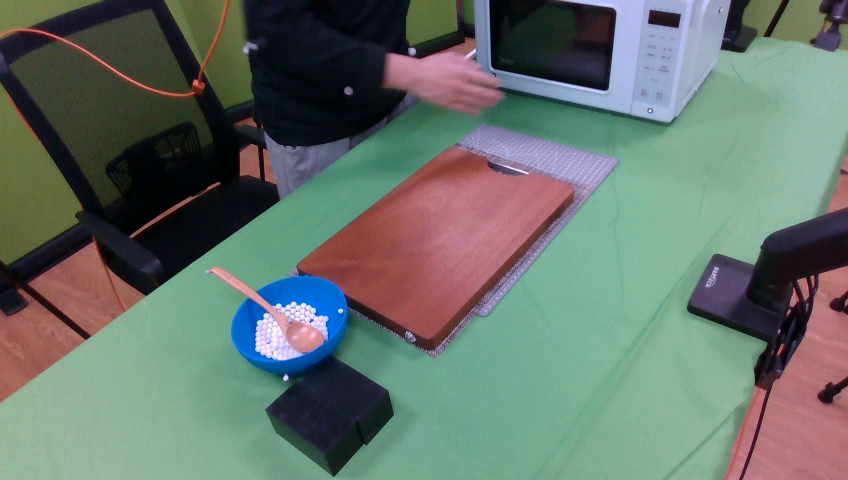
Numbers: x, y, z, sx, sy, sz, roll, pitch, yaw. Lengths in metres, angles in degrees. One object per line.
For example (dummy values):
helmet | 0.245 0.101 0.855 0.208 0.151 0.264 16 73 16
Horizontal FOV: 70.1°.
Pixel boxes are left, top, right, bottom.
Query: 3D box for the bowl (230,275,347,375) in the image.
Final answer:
bowl | -0.171 0.125 0.802 0.151 0.077 0.150 -4 40 4

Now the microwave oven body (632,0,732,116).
microwave oven body | 0.377 -0.463 1.267 0.438 0.261 0.327 21 48 30

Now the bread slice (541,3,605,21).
bread slice | 0.319 -0.484 1.278 0.106 0.018 0.135 17 33 28

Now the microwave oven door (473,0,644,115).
microwave oven door | 0.257 -0.396 1.199 0.353 0.245 0.039 21 48 29

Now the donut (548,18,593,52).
donut | 0.315 -0.441 1.300 0.099 0.048 0.098 -18 36 15

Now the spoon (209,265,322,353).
spoon | -0.214 0.088 0.806 0.193 0.021 0.042 37 56 11

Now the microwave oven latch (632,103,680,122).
microwave oven latch | 0.443 -0.249 1.157 0.078 0.029 0.030 20 48 29

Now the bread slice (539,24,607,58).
bread slice | 0.335 -0.445 1.336 0.132 0.019 0.104 -30 43 -20
